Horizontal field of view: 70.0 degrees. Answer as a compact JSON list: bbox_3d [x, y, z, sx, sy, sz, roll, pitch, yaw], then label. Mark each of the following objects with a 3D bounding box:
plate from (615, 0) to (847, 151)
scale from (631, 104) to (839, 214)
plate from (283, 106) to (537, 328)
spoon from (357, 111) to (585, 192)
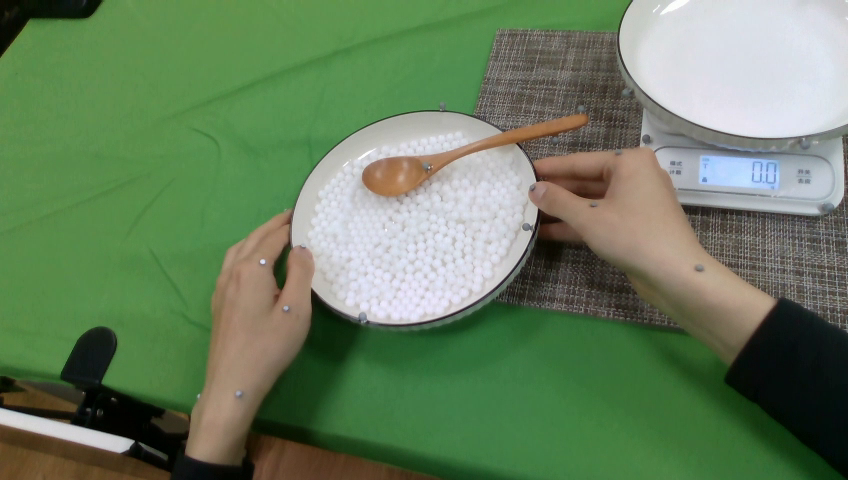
[{"bbox_3d":[0.260,-0.150,0.485,0.207,0.039,0.206,-5,59,8],"label":"plate"},{"bbox_3d":[0.257,-0.116,0.504,0.148,0.032,0.199,7,62,16],"label":"scale"},{"bbox_3d":[-0.011,-0.021,0.500,0.209,0.038,0.207,-5,59,9],"label":"plate"},{"bbox_3d":[0.037,-0.077,0.504,0.193,0.022,0.041,-15,59,11],"label":"spoon"}]
